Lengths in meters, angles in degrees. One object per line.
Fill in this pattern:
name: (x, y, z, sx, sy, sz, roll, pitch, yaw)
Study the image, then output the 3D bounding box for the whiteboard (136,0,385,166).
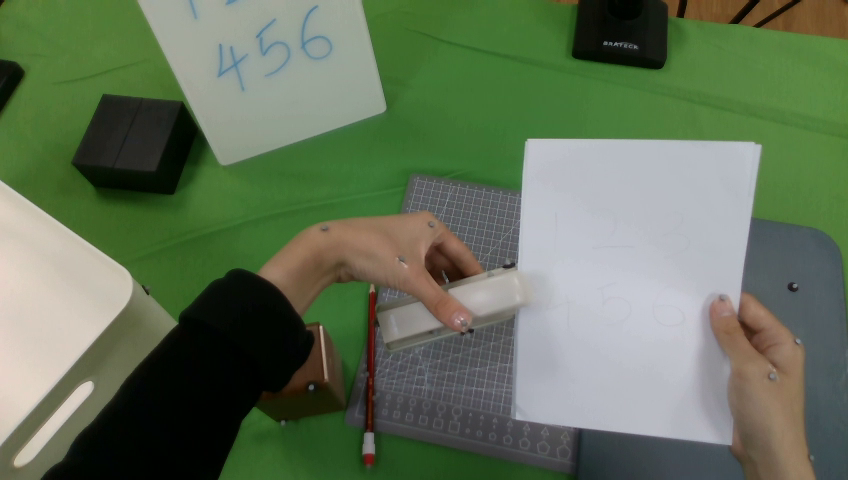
whiteboard: (-0.194, -0.277, 0.687, 0.217, 0.308, 0.142, -21, 46, -8)

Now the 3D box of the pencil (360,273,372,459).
pencil: (-0.058, 0.123, 0.620, 0.012, 0.012, 0.192, -2, 65, 1)

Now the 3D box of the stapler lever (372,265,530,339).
stapler lever: (0.017, 0.045, 0.435, 0.118, 0.040, 0.026, -16, 80, 8)

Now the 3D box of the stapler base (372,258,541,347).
stapler base: (0.023, 0.047, 0.459, 0.130, 0.024, 0.041, -17, 80, 8)

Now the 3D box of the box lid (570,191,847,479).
box lid: (0.294, 0.122, 0.615, 0.263, 0.015, 0.369, 10, 65, 5)

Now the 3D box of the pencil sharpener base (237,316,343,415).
pencil sharpener base: (-0.124, 0.122, 0.570, 0.077, 0.108, 0.061, -10, 64, -3)

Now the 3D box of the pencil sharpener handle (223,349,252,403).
pencil sharpener handle: (-0.174, 0.129, 0.553, 0.031, 0.068, 0.035, -10, 48, -3)

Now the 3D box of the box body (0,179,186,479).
box body: (-0.446, 0.074, 0.568, 0.362, 0.161, 0.253, 30, 69, 14)
